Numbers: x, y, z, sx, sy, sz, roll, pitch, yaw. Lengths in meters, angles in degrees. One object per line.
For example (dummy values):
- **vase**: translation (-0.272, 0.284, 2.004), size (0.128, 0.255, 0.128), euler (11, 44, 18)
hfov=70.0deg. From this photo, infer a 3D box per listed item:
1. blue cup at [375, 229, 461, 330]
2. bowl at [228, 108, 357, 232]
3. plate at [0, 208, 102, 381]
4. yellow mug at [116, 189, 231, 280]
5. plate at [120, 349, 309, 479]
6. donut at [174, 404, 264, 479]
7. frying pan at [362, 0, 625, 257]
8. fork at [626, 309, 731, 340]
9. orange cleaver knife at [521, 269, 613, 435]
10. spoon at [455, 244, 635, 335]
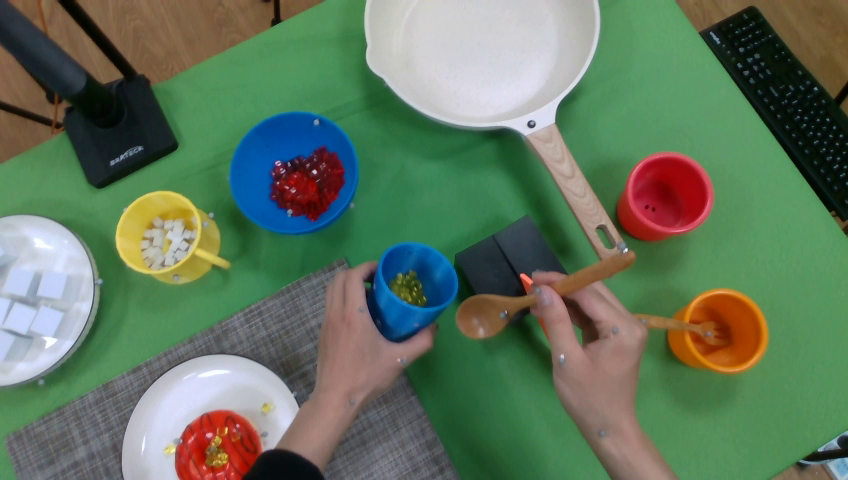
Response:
- **blue cup**: translation (-0.014, 0.050, 0.635), size (0.093, 0.101, 0.092), euler (5, 61, -8)
- **bowl**: translation (-0.152, -0.075, 0.739), size (0.151, 0.077, 0.150), euler (0, 77, 1)
- **plate**: translation (-0.490, 0.065, 0.735), size (0.207, 0.039, 0.206), euler (0, 77, 1)
- **yellow mug**: translation (-0.292, 0.001, 0.731), size (0.130, 0.064, 0.099), euler (23, 79, 6)
- **plate**: translation (-0.233, 0.229, 0.688), size (0.209, 0.038, 0.208), euler (0, 78, 1)
- **donut**: translation (-0.228, 0.233, 0.676), size (0.099, 0.048, 0.098), euler (0, 81, 0)
- **frying pan**: translation (0.110, -0.185, 0.745), size (0.307, 0.103, 0.484), euler (-23, 70, -3)
- **fork**: translation (0.280, 0.090, 0.655), size (0.209, 0.018, 0.028), euler (13, 73, -40)
- **orange cleaver knife**: translation (0.160, 0.127, 0.685), size (0.012, 0.076, 0.212), euler (-29, 107, -5)
- **spoon**: translation (0.091, 0.043, 0.492), size (0.021, 0.193, 0.041), euler (-36, 94, -39)
